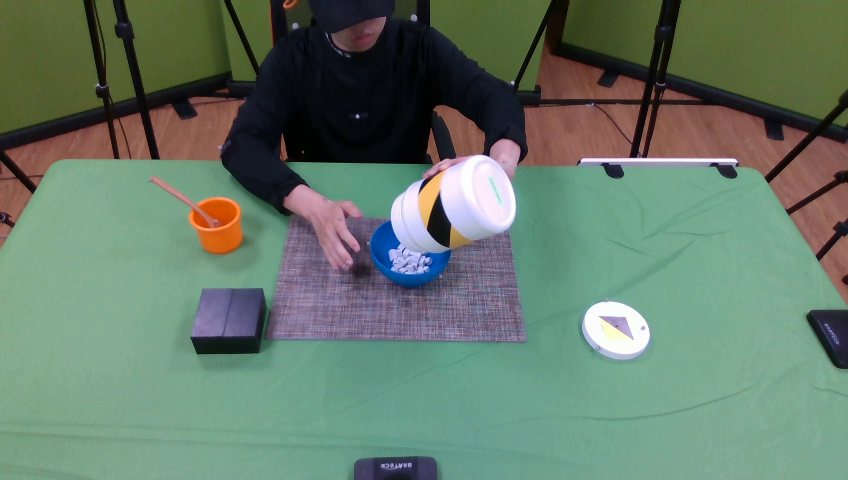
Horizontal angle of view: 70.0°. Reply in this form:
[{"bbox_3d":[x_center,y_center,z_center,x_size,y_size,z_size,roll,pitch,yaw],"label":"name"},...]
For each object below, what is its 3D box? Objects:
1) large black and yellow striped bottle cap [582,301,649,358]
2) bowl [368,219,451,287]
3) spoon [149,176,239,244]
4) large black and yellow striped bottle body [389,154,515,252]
[{"bbox_3d":[0.340,0.157,1.077,0.115,0.019,0.114,1,46,-1],"label":"large black and yellow striped bottle cap"},{"bbox_3d":[-0.027,0.033,1.119,0.151,0.077,0.150,2,46,-2],"label":"bowl"},{"bbox_3d":[-0.427,-0.057,1.132,0.021,0.195,0.041,-27,31,33],"label":"spoon"},{"bbox_3d":[0.043,-0.054,1.006,0.184,0.131,0.130,-18,31,39],"label":"large black and yellow striped bottle body"}]
